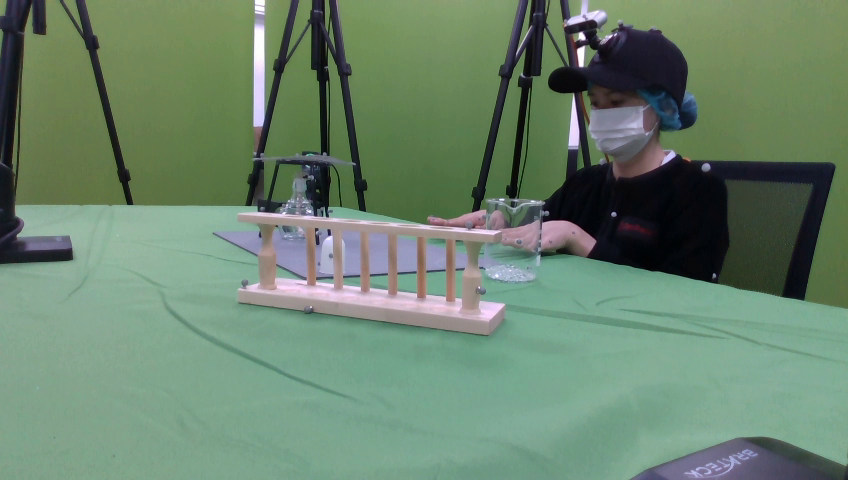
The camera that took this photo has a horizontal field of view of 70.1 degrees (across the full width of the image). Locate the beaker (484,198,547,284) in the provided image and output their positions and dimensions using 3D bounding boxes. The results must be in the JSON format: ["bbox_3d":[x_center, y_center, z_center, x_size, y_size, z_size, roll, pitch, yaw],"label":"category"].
[{"bbox_3d":[0.111,0.000,0.744,0.074,0.100,0.084,3,8,9],"label":"beaker"}]

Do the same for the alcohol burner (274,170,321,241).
[{"bbox_3d":[-0.212,-0.058,1.015,0.078,0.119,0.078,4,5,0],"label":"alcohol burner"}]

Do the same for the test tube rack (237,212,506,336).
[{"bbox_3d":[-0.049,0.024,0.552,0.242,0.085,0.067,5,8,18],"label":"test tube rack"}]

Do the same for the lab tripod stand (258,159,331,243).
[{"bbox_3d":[-0.202,-0.067,1.010,0.148,0.131,0.148,2,5,0],"label":"lab tripod stand"}]

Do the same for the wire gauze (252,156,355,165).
[{"bbox_3d":[-0.196,-0.133,0.999,0.121,0.011,0.125,4,5,22],"label":"wire gauze"}]

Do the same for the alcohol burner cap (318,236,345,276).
[{"bbox_3d":[-0.110,0.019,0.723,0.034,0.048,0.034,2,6,0],"label":"alcohol burner cap"}]
